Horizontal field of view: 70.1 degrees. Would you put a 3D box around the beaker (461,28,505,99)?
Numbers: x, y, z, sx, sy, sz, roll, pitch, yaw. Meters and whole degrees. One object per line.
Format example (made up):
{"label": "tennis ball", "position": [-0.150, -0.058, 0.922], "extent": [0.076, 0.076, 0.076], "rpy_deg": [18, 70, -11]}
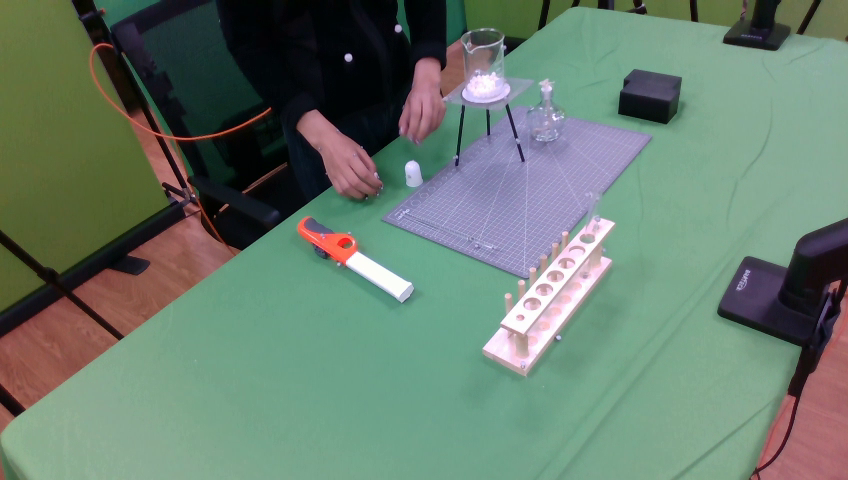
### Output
{"label": "beaker", "position": [0.103, -0.304, 1.051], "extent": [0.073, 0.101, 0.084], "rpy_deg": [19, 48, 29]}

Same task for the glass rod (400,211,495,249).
{"label": "glass rod", "position": [0.035, -0.018, 1.002], "extent": [0.198, 0.008, 0.008], "rpy_deg": [21, 49, 35]}

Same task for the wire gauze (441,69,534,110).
{"label": "wire gauze", "position": [0.114, -0.268, 1.082], "extent": [0.120, 0.011, 0.125], "rpy_deg": [22, 47, 28]}

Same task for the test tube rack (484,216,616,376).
{"label": "test tube rack", "position": [0.174, 0.064, 0.823], "extent": [0.066, 0.085, 0.243], "rpy_deg": [23, 49, 33]}

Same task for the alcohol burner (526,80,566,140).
{"label": "alcohol burner", "position": [0.235, -0.252, 1.159], "extent": [0.078, 0.119, 0.077], "rpy_deg": [-4, 42, 4]}

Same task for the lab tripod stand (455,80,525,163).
{"label": "lab tripod stand", "position": [0.120, -0.220, 1.126], "extent": [0.148, 0.132, 0.147], "rpy_deg": [-4, 40, 4]}

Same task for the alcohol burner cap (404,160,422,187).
{"label": "alcohol burner cap", "position": [-0.022, -0.125, 1.118], "extent": [0.034, 0.048, 0.033], "rpy_deg": [-4, 40, 4]}

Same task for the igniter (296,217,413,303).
{"label": "igniter", "position": [-0.121, 0.025, 0.970], "extent": [0.274, 0.025, 0.057], "rpy_deg": [30, 63, 37]}

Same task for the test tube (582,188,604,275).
{"label": "test tube", "position": [0.228, -0.007, 0.821], "extent": [0.017, 0.151, 0.017], "rpy_deg": [-3, 42, 3]}
